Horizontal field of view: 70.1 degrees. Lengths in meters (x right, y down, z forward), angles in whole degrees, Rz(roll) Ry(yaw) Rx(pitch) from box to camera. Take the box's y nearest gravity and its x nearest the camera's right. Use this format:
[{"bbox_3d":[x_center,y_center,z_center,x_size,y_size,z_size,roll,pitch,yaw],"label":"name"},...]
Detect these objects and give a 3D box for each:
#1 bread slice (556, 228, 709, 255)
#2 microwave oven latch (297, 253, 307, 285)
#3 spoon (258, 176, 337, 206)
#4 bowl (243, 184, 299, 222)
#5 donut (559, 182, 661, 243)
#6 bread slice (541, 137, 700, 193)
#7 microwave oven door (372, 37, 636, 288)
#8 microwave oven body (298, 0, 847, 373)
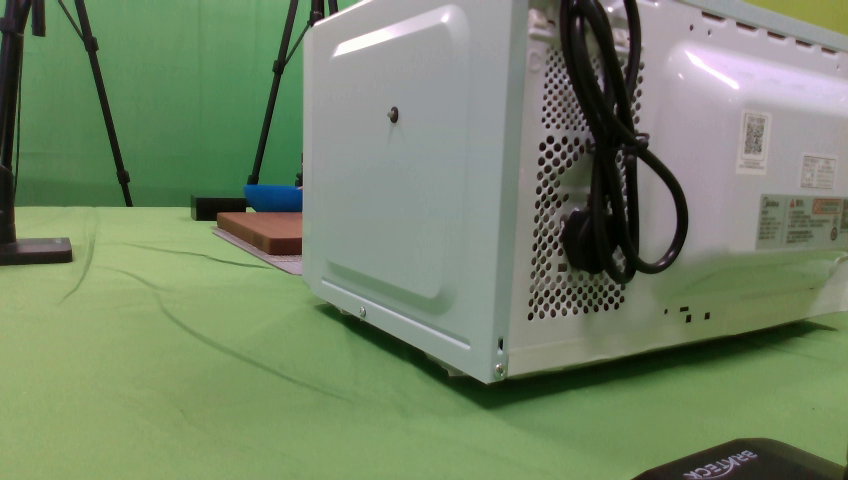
[{"bbox_3d":[0.205,0.000,0.581,0.105,0.019,0.131,4,1,-16],"label":"bread slice"},{"bbox_3d":[-0.082,0.027,0.583,0.079,0.029,0.030,-1,7,-33],"label":"microwave oven latch"},{"bbox_3d":[-0.279,-0.112,1.357,0.194,0.021,0.041,-28,19,-27],"label":"spoon"},{"bbox_3d":[-0.321,-0.081,1.334,0.151,0.077,0.151,3,7,0],"label":"bowl"},{"bbox_3d":[0.185,-0.029,0.605,0.099,0.048,0.099,11,-10,2],"label":"donut"},{"bbox_3d":[0.197,-0.074,0.591,0.107,0.018,0.133,-2,22,-40],"label":"bread slice"},{"bbox_3d":[0.110,-0.080,0.686,0.358,0.243,0.039,-2,9,-33],"label":"microwave oven door"},{"bbox_3d":[0.151,-0.055,0.543,0.444,0.260,0.324,-1,7,-33],"label":"microwave oven body"}]
